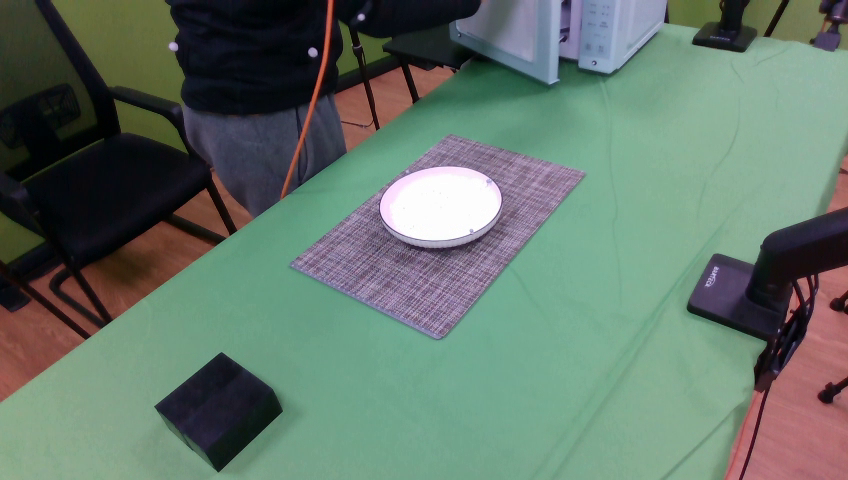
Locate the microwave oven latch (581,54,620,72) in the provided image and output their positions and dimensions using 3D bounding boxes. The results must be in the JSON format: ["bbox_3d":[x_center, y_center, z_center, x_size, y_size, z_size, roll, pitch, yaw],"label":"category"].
[{"bbox_3d":[0.386,-0.393,1.330,0.078,0.029,0.030,25,51,32],"label":"microwave oven latch"}]

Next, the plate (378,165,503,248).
[{"bbox_3d":[0.029,-0.053,1.009,0.209,0.038,0.208,-4,41,4],"label":"plate"}]

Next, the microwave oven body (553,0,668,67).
[{"bbox_3d":[0.325,-0.609,1.437,0.438,0.261,0.327,23,50,30],"label":"microwave oven body"}]

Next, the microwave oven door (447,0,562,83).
[{"bbox_3d":[0.171,-0.520,1.350,0.039,0.245,0.352,-30,46,-24],"label":"microwave oven door"}]
